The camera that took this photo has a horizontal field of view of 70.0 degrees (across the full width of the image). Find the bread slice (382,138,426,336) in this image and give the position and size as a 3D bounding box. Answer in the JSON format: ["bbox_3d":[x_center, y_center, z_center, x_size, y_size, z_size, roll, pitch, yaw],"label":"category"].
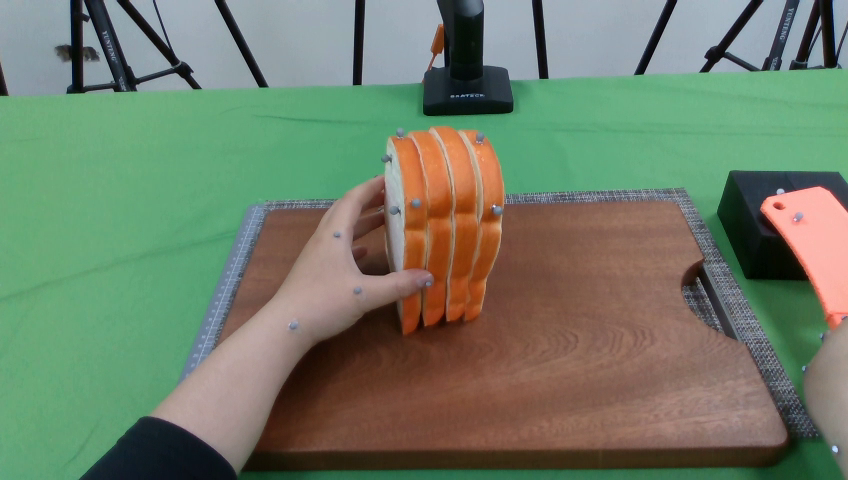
[{"bbox_3d":[-0.017,-0.011,0.471,0.018,0.135,0.106,-6,37,-11],"label":"bread slice"}]

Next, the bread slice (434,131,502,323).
[{"bbox_3d":[0.033,-0.016,0.475,0.019,0.132,0.103,-3,41,-14],"label":"bread slice"}]

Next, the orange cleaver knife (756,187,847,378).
[{"bbox_3d":[0.325,0.033,0.470,0.077,0.012,0.209,0,49,3],"label":"orange cleaver knife"}]
